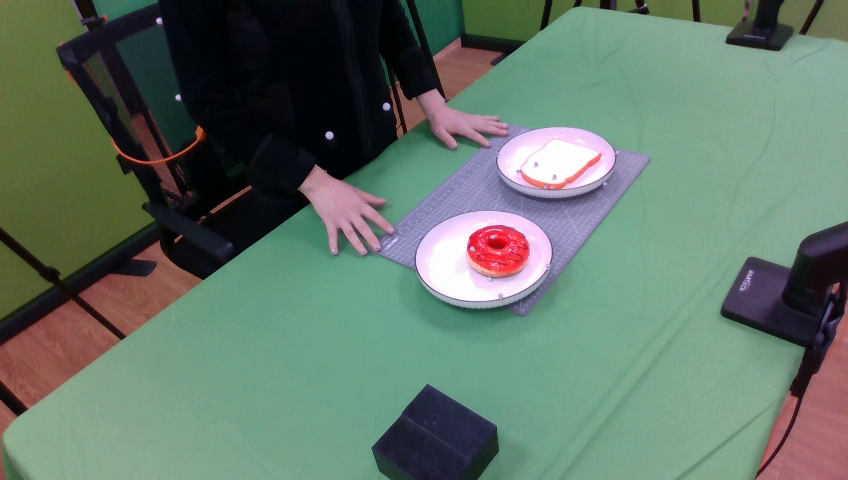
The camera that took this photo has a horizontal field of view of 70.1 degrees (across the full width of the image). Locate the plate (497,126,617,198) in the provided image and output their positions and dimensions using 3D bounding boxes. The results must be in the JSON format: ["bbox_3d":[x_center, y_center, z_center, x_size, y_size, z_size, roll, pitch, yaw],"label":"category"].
[{"bbox_3d":[0.236,-0.136,1.085,0.209,0.038,0.208,-5,40,5],"label":"plate"}]

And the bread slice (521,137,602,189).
[{"bbox_3d":[0.242,-0.136,1.085,0.106,0.018,0.134,23,50,34],"label":"bread slice"}]

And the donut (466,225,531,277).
[{"bbox_3d":[0.112,0.017,0.910,0.099,0.048,0.098,-2,41,2],"label":"donut"}]

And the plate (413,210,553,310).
[{"bbox_3d":[0.089,0.033,0.914,0.207,0.039,0.206,-5,40,5],"label":"plate"}]
